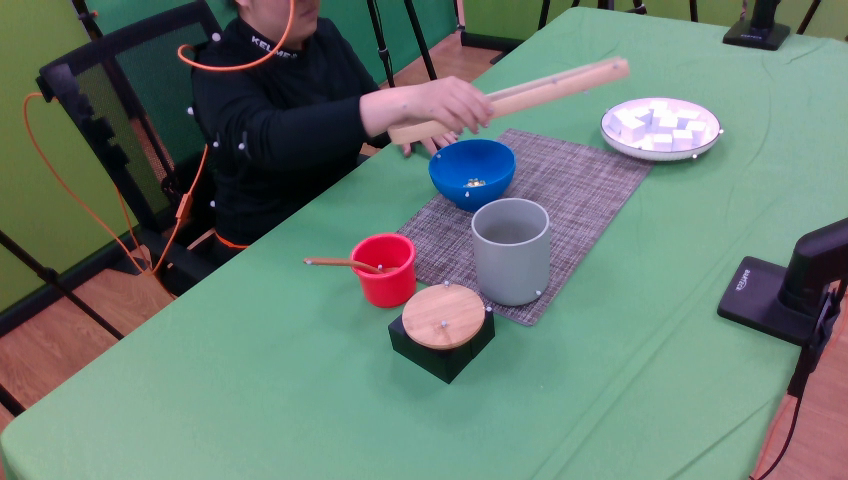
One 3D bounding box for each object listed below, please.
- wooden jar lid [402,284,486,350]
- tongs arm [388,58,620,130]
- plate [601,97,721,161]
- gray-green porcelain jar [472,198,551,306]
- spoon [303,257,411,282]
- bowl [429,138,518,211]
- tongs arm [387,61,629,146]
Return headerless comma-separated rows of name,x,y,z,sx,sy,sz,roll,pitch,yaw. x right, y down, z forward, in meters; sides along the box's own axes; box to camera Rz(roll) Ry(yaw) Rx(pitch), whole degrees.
wooden jar lid,0.026,0.101,0.786,0.108,0.021,0.108,-5,39,4
tongs arm,0.129,-0.226,0.975,0.387,0.028,0.028,-16,30,3
plate,0.437,-0.202,1.126,0.209,0.038,0.208,-5,39,4
gray-green porcelain jar,0.125,0.021,0.850,0.106,0.127,0.105,-6,40,5
spoon,-0.092,0.038,0.865,0.195,0.021,0.041,16,16,-46
bowl,0.087,-0.103,1.043,0.151,0.077,0.150,-5,40,5
tongs arm,0.130,-0.216,0.953,0.385,0.026,0.050,-18,26,-1
